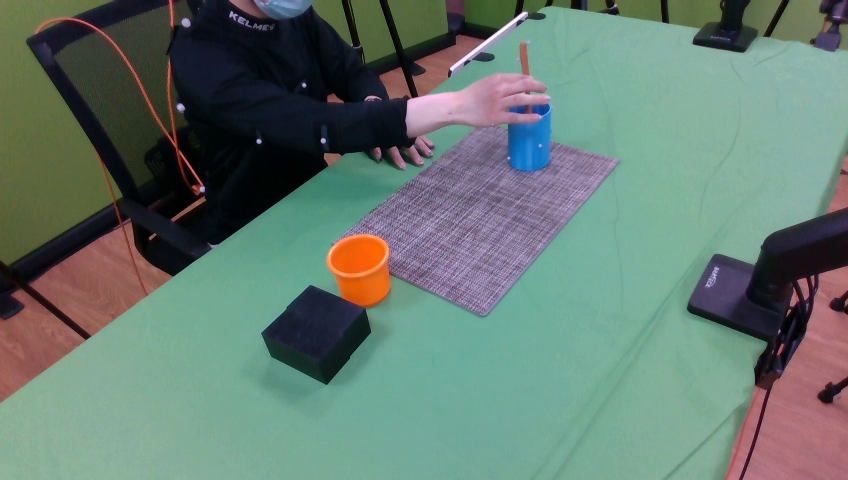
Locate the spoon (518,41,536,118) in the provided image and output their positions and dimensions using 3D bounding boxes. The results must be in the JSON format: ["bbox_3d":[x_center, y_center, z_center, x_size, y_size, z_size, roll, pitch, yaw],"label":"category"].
[{"bbox_3d":[0.180,-0.252,1.053,0.041,0.194,0.022,10,41,32],"label":"spoon"}]

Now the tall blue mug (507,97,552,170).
[{"bbox_3d":[0.179,-0.198,1.101,0.078,0.108,0.106,-36,49,-28],"label":"tall blue mug"}]
